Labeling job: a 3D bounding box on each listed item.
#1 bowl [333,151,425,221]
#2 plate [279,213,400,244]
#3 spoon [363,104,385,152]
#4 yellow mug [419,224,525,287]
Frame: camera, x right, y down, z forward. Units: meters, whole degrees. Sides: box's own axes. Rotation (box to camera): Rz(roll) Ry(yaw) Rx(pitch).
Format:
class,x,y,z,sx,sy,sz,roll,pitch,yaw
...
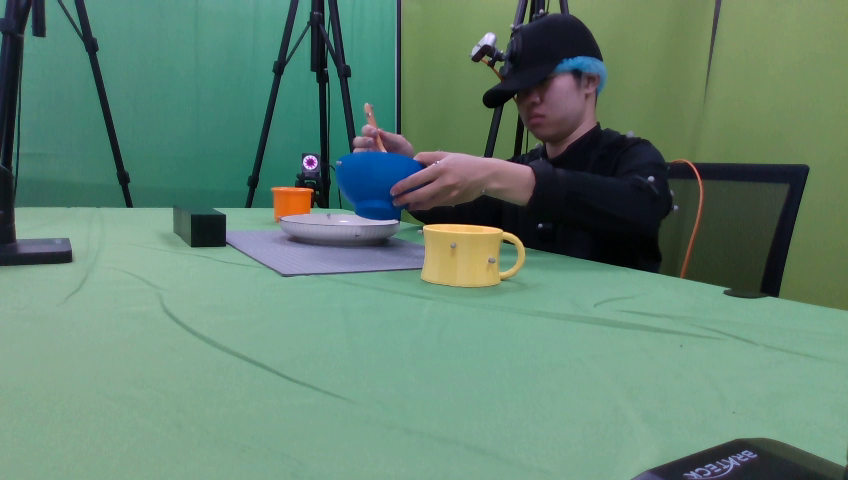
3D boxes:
class,x,y,z,sx,sy,sz,roll,pitch,yaw
bowl,-0.075,-0.078,0.970,0.151,0.076,0.151,3,-15,1
plate,-0.147,-0.020,1.060,0.209,0.038,0.209,3,7,0
spoon,-0.073,-0.157,1.001,0.042,0.021,0.193,0,50,-34
yellow mug,0.060,0.018,0.746,0.131,0.064,0.100,3,6,-7
